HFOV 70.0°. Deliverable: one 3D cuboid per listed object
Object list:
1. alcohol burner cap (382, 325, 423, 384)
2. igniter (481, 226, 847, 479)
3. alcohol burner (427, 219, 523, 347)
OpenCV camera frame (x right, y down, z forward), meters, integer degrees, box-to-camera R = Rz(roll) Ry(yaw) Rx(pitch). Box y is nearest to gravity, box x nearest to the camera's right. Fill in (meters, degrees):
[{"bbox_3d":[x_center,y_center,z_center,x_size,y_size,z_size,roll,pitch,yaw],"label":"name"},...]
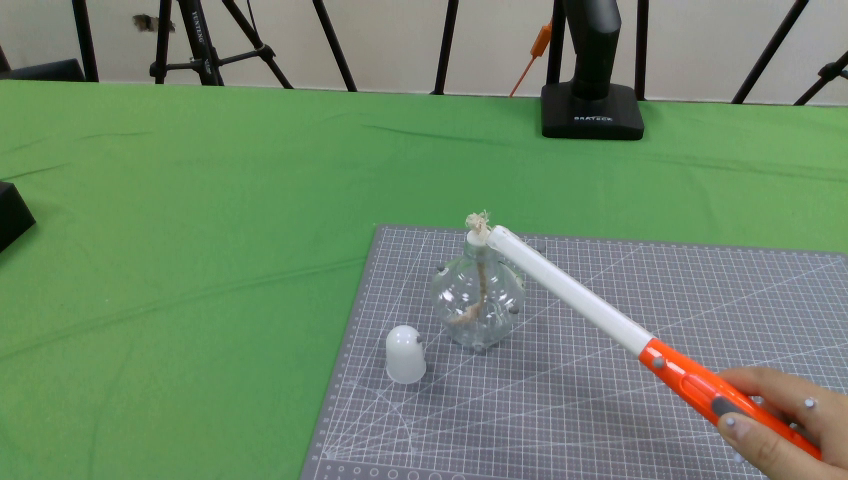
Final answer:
[{"bbox_3d":[-0.018,0.086,0.469,0.034,0.048,0.033,0,42,1],"label":"alcohol burner cap"},{"bbox_3d":[0.142,0.073,0.363,0.274,0.058,0.025,39,99,31],"label":"igniter"},{"bbox_3d":[0.041,0.029,0.478,0.078,0.120,0.077,0,43,0],"label":"alcohol burner"}]
